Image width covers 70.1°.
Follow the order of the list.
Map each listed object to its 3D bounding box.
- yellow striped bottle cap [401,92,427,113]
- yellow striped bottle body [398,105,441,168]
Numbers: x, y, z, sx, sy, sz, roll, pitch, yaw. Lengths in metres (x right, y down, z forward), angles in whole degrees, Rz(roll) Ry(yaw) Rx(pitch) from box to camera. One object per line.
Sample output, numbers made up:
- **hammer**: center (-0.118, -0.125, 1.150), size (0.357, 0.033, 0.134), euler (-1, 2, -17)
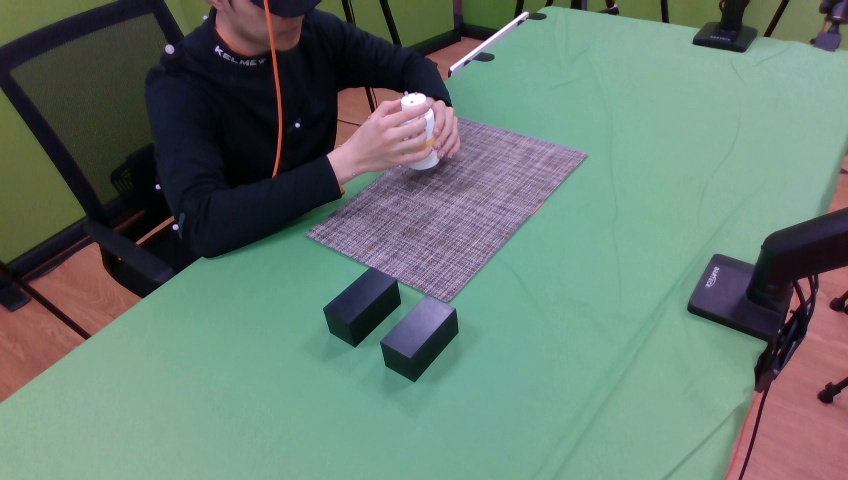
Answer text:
- **yellow striped bottle cap**: center (-0.017, -0.234, 1.027), size (0.044, 0.019, 0.044), euler (-6, 37, 5)
- **yellow striped bottle body**: center (-0.010, -0.192, 1.061), size (0.063, 0.121, 0.062), euler (-7, 40, 6)
